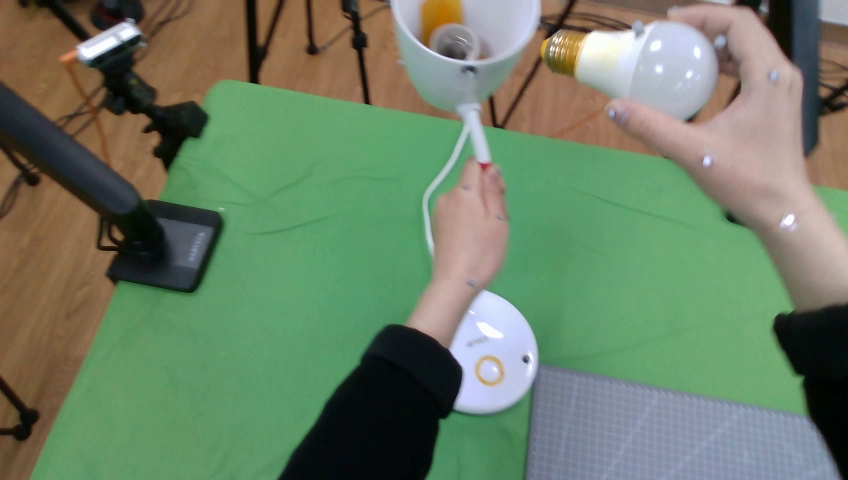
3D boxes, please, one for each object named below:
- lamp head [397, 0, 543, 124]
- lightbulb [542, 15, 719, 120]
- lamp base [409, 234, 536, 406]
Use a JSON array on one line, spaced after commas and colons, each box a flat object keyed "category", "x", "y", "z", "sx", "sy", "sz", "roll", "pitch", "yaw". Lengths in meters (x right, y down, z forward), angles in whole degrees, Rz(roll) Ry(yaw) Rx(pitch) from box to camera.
[{"category": "lamp head", "x": 0.032, "y": -0.162, "z": 0.505, "sx": 0.112, "sy": 0.123, "sz": 0.111, "roll": 1, "pitch": 68, "yaw": -3}, {"category": "lightbulb", "x": 0.123, "y": -0.110, "z": 0.370, "sx": 0.107, "sy": 0.060, "sz": 0.059, "roll": 23, "pitch": 61, "yaw": 26}, {"category": "lamp base", "x": 0.058, "y": 0.083, "z": 0.702, "sx": 0.161, "sy": 0.181, "sz": 0.177, "roll": -28, "pitch": 64, "yaw": -17}]
